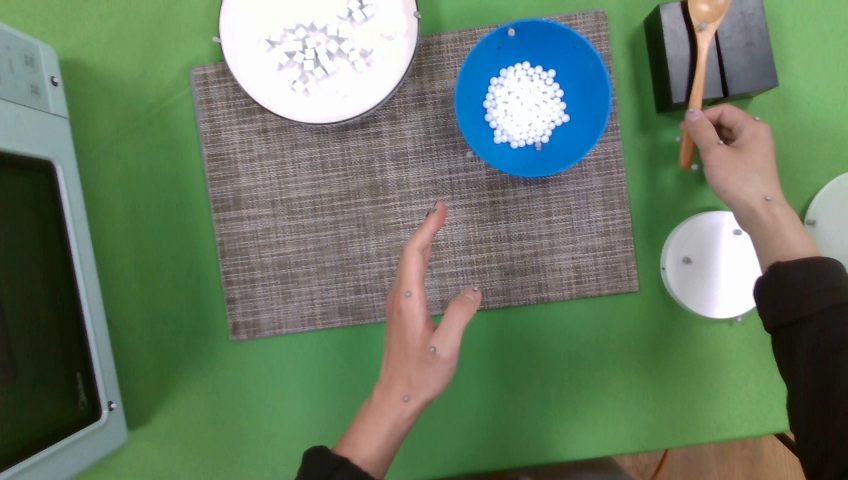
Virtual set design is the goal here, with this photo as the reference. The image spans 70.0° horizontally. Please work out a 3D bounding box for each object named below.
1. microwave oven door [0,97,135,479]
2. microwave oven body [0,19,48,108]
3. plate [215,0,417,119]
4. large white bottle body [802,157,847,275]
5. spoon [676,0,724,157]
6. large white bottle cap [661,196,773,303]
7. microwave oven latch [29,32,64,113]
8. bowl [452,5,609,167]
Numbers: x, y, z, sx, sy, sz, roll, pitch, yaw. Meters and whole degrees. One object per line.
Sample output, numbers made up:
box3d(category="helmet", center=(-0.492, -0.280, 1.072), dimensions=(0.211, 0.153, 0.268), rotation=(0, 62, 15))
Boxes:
box3d(category="microwave oven door", center=(-0.368, 0.047, 0.539), dimensions=(0.039, 0.243, 0.356), rotation=(-11, 92, 3))
box3d(category="microwave oven body", center=(-0.520, 0.031, 0.547), dimensions=(0.326, 0.260, 0.442), rotation=(-10, 93, 1))
box3d(category="plate", center=(-0.110, -0.227, 0.635), dimensions=(0.209, 0.038, 0.209), rotation=(0, 90, 2))
box3d(category="large white bottle body", center=(0.462, -0.024, 0.558), dimensions=(0.130, 0.184, 0.130), rotation=(0, 92, 2))
box3d(category="spoon", center=(0.266, -0.179, 0.592), dimensions=(0.041, 0.021, 0.194), rotation=(6, 98, 4))
box3d(category="large white bottle cap", center=(0.313, 0.011, 0.647), dimensions=(0.115, 0.018, 0.115), rotation=(0, 93, 0))
box3d(category="microwave oven latch", center=(-0.402, -0.172, 0.631), dimensions=(0.030, 0.029, 0.079), rotation=(-10, 93, 2))
box3d(category="bowl", center=(0.102, -0.146, 0.612), dimensions=(0.151, 0.077, 0.151), rotation=(0, 93, 2))
